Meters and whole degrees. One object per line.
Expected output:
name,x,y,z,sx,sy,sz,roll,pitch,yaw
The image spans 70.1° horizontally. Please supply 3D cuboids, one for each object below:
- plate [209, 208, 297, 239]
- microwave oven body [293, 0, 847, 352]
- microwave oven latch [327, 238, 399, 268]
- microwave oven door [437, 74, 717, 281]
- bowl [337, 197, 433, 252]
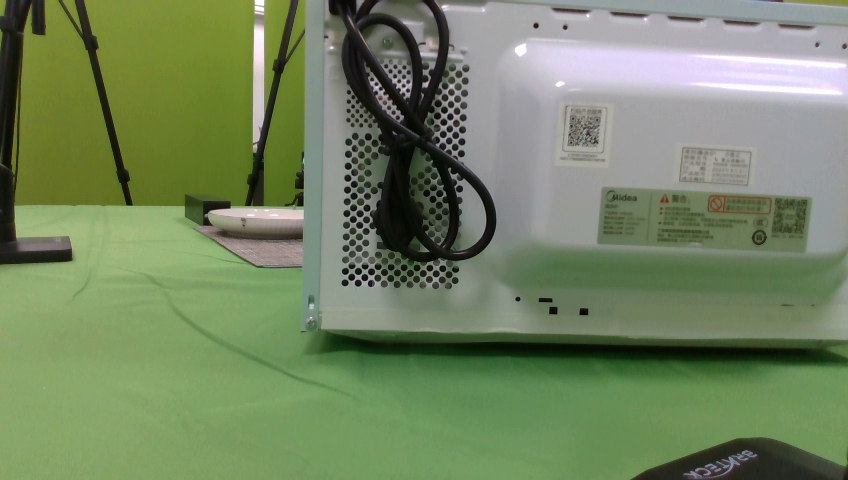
plate,-0.271,-0.029,1.074,0.208,0.039,0.207,3,7,0
microwave oven body,0.122,-0.055,0.550,0.442,0.260,0.325,3,7,-5
microwave oven latch,-0.069,0.015,0.694,0.079,0.029,0.030,3,7,-3
microwave oven door,0.182,-0.089,0.800,0.354,0.243,0.039,7,9,31
bowl,-0.062,-0.025,0.955,0.151,0.077,0.151,2,8,0
